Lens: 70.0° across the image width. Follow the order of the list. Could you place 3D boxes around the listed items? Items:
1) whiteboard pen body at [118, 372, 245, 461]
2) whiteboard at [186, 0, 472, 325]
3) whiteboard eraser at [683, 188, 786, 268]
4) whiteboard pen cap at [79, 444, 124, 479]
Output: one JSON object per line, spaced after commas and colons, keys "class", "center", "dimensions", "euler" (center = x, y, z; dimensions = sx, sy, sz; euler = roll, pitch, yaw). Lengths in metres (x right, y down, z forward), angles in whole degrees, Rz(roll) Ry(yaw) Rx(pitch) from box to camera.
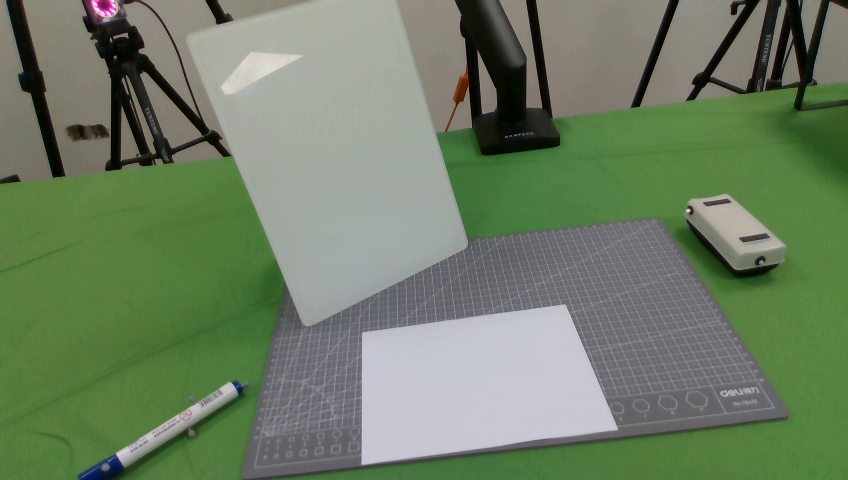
{"class": "whiteboard pen body", "center": [-0.223, 0.159, 0.533], "dimensions": [0.141, 0.017, 0.017], "euler": [-31, 42, -31]}
{"class": "whiteboard", "center": [-0.109, -0.101, 0.682], "dimensions": [0.217, 0.307, 0.143], "euler": [-26, 19, -23]}
{"class": "whiteboard eraser", "center": [0.335, -0.013, 0.661], "dimensions": [0.055, 0.042, 0.111], "euler": [-12, 36, -3]}
{"class": "whiteboard pen cap", "center": [-0.266, 0.184, 0.503], "dimensions": [0.033, 0.018, 0.018], "euler": [-32, 43, -32]}
